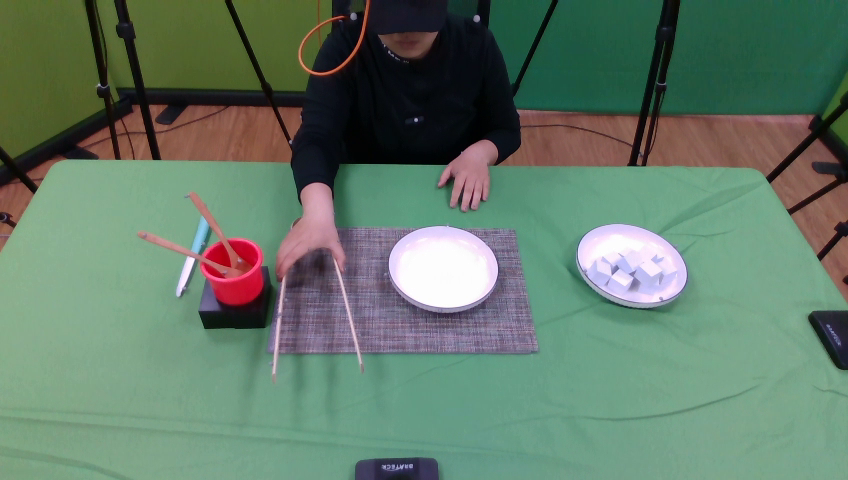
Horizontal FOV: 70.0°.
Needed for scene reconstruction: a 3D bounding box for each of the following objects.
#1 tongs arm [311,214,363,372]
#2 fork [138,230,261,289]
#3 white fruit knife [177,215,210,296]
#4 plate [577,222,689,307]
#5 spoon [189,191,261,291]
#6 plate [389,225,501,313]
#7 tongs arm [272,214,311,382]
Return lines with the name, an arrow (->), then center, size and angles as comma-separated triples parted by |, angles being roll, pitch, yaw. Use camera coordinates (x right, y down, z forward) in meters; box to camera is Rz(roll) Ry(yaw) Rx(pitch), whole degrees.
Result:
tongs arm -> -0.154, 0.076, 1.061 | 0.028, 0.028, 0.384 | -14, 42, -11
fork -> -0.359, 0.032, 0.981 | 0.208, 0.018, 0.028 | 31, 60, -30
white fruit knife -> -0.435, 0.025, 1.148 | 0.027, 0.016, 0.206 | -17, 45, 18
plate -> 0.396, 0.050, 1.165 | 0.209, 0.038, 0.208 | 2, 47, -2
spoon -> -0.333, 0.001, 1.012 | 0.041, 0.194, 0.021 | -34, 15, -25
plate -> 0.038, 0.057, 1.129 | 0.208, 0.039, 0.206 | 2, 46, -2
tongs arm -> -0.225, 0.082, 1.050 | 0.051, 0.026, 0.382 | -4, 40, -5
